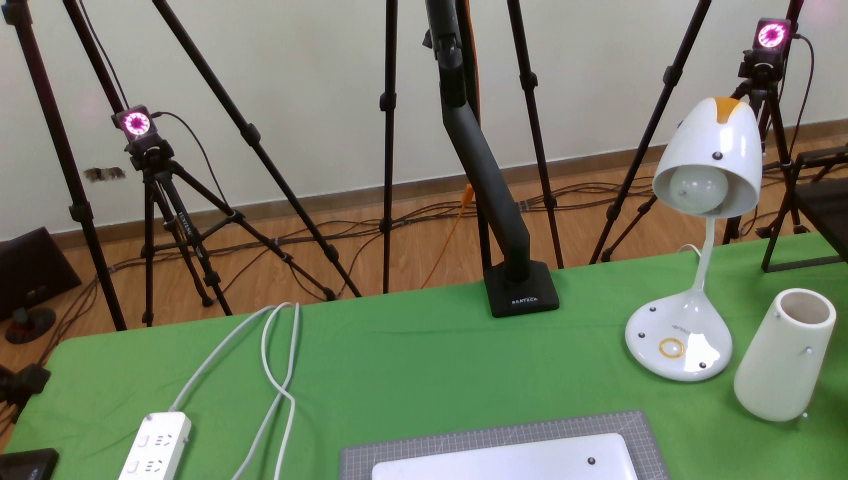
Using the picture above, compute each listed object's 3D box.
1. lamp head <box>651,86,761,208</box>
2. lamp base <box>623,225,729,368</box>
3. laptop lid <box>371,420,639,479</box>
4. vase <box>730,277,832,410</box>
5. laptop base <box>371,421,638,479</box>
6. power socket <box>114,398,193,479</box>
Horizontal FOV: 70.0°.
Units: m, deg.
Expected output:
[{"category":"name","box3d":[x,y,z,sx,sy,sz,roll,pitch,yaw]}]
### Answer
[{"category":"lamp head","box3d":[0.330,-0.111,0.694,0.112,0.113,0.122,14,64,23]},{"category":"lamp base","box3d":[0.399,0.074,0.928,0.159,0.182,0.178,17,45,25]},{"category":"laptop lid","box3d":[0.107,0.353,0.769,0.357,0.013,0.239,-7,44,2]},{"category":"vase","box3d":[0.484,0.142,0.824,0.098,0.202,0.097,-6,41,5]},{"category":"laptop base","box3d":[0.108,0.360,0.779,0.354,0.023,0.233,-8,45,1]},{"category":"power socket","box3d":[-0.404,0.330,0.885,0.072,0.033,0.224,-3,41,5]}]
